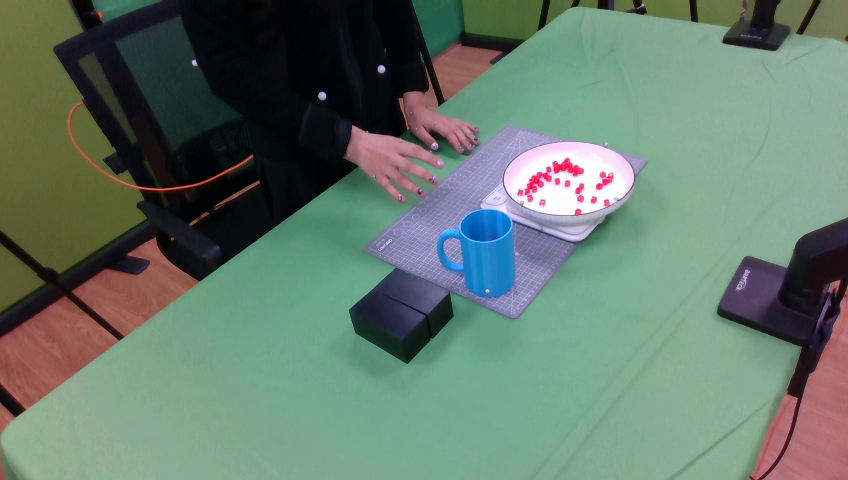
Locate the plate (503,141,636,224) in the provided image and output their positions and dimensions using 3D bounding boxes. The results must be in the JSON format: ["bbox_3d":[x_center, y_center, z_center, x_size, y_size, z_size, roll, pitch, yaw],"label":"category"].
[{"bbox_3d":[0.233,-0.091,0.983,0.209,0.038,0.208,-5,41,5],"label":"plate"}]

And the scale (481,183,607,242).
[{"bbox_3d":[0.211,-0.070,1.014,0.199,0.032,0.149,23,49,33],"label":"scale"}]

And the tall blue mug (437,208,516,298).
[{"bbox_3d":[0.078,0.023,0.869,0.107,0.108,0.077,-14,41,-6],"label":"tall blue mug"}]
